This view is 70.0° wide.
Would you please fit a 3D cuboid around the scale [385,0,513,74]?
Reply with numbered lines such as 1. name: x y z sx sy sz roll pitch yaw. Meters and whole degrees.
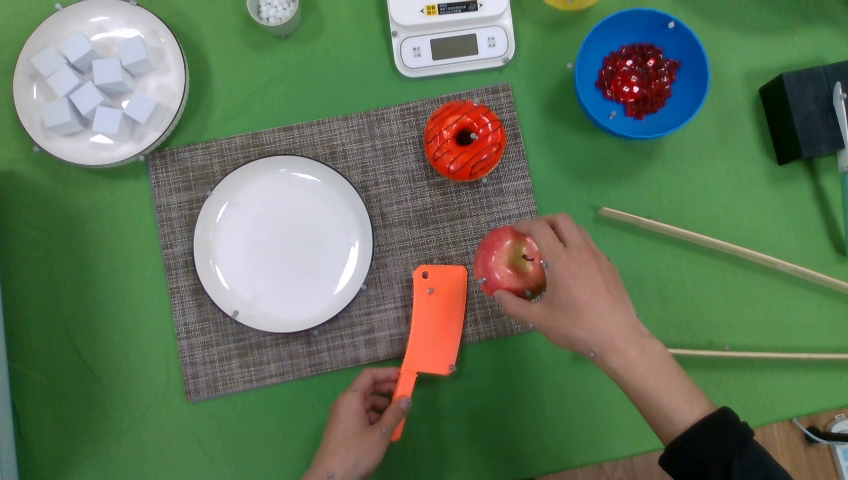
1. scale: 0.025 -0.310 0.741 0.149 0.031 0.200 -7 85 0

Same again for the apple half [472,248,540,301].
1. apple half: 0.075 0.042 0.611 0.081 0.081 0.032 32 76 3

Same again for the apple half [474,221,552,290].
1. apple half: 0.096 0.011 0.618 0.081 0.075 0.053 32 77 3

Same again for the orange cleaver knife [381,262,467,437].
1. orange cleaver knife: 0.002 0.121 0.692 0.077 0.012 0.210 17 79 -17

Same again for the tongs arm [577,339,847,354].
1. tongs arm: 0.373 0.108 0.701 0.385 0.026 0.050 4 80 1

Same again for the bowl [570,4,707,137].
1. bowl: 0.238 -0.185 0.707 0.151 0.077 0.151 0 85 0

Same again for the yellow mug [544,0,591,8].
1. yellow mug: 0.168 -0.352 0.728 0.100 0.064 0.130 -44 85 -3

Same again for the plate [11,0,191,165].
1. plate: -0.382 -0.190 0.729 0.208 0.039 0.207 0 85 0

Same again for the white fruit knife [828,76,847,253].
1. white fruit knife: 0.482 -0.083 0.697 0.016 0.027 0.208 -14 99 0

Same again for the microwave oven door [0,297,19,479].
1. microwave oven door: -0.496 0.140 0.580 0.039 0.244 0.355 -9 85 0

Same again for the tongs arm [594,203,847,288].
1. tongs arm: 0.387 0.023 0.712 0.387 0.028 0.028 19 77 3

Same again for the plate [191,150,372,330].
1. plate: -0.163 0.000 0.708 0.209 0.038 0.208 0 85 0

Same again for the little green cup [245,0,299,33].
1. little green cup: -0.182 -0.285 0.737 0.061 0.039 0.061 0 84 1

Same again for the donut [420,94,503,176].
1. donut: 0.044 -0.124 0.715 0.099 0.048 0.099 0 86 2
